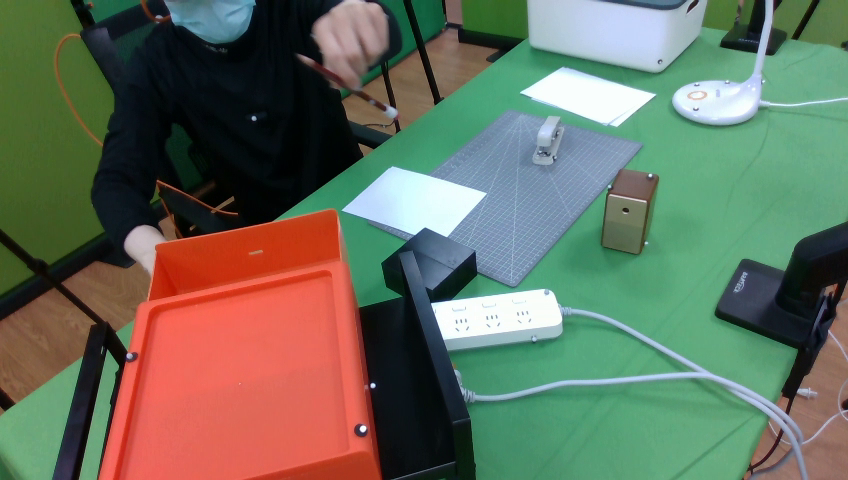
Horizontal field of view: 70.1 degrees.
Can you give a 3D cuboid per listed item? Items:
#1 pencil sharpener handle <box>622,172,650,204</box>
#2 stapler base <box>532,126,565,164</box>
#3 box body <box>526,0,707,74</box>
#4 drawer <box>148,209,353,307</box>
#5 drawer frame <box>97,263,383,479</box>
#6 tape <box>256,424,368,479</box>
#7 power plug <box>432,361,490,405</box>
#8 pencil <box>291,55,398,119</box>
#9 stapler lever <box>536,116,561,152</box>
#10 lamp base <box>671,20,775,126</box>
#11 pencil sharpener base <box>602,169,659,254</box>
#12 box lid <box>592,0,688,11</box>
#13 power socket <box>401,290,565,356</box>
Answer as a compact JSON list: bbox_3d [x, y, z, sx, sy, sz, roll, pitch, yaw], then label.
[{"bbox_3d":[0.328,-0.086,0.940,0.036,0.068,0.030,30,49,8],"label":"pencil sharpener handle"},{"bbox_3d":[0.238,-0.189,1.155,0.041,0.024,0.130,10,42,18],"label":"stapler base"},{"bbox_3d":[0.450,-0.540,1.430,0.361,0.161,0.255,24,50,31],"label":"box body"},{"bbox_3d":[-0.167,0.074,0.591,0.195,0.073,0.210,-11,41,-5],"label":"drawer"},{"bbox_3d":[-0.148,0.130,0.519,0.202,0.083,0.212,-11,41,-6],"label":"drawer frame"},{"bbox_3d":[-0.121,0.263,0.659,0.117,0.053,0.116,-5,39,4],"label":"tape"},{"bbox_3d":[0.044,0.182,0.759,0.073,0.035,0.052,26,40,-20],"label":"power plug"},{"bbox_3d":[-0.081,-0.165,0.663,0.012,0.012,0.195,20,3,29],"label":"pencil"},{"bbox_3d":[0.236,-0.209,1.140,0.026,0.040,0.118,10,43,18],"label":"stapler lever"},{"bbox_3d":[0.582,-0.332,1.153,0.179,0.181,0.160,2,41,7],"label":"lamp base"},{"bbox_3d":[0.312,-0.044,0.913,0.061,0.107,0.077,14,45,24],"label":"pencil sharpener base"},{"bbox_3d":[0.441,-0.596,1.383,0.368,0.015,0.264,24,49,31],"label":"box lid"},{"bbox_3d":[0.080,0.112,0.821,0.227,0.033,0.072,-6,41,0],"label":"power socket"}]
